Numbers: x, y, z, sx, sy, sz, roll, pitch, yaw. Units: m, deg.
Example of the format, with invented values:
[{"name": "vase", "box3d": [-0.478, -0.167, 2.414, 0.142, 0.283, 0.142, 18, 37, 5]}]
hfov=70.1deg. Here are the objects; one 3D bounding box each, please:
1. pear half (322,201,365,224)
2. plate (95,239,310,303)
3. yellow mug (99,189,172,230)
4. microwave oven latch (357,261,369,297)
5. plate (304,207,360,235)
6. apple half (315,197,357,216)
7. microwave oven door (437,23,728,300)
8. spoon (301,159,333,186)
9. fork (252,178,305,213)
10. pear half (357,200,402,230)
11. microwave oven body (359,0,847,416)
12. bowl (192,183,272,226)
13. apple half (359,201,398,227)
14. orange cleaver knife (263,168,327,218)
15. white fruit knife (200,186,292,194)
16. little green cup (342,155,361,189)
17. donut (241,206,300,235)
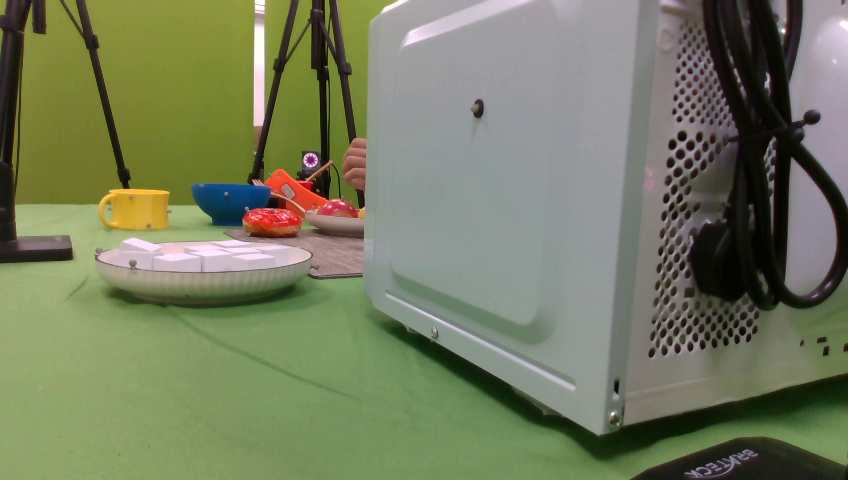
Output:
[{"name": "pear half", "box3d": [-0.157, -0.059, 1.197, 0.088, 0.031, 0.070, 12, 30, -5]}, {"name": "plate", "box3d": [-0.224, 0.031, 0.629, 0.208, 0.039, 0.207, 2, 7, 0]}, {"name": "yellow mug", "box3d": [-0.518, -0.055, 1.080, 0.099, 0.064, 0.131, 7, 10, 26]}, {"name": "microwave oven latch", "box3d": [-0.019, 0.033, 0.530, 0.079, 0.029, 0.030, -1, 7, -26]}, {"name": "plate", "box3d": [-0.123, -0.037, 1.149, 0.209, 0.038, 0.209, 2, 7, 0]}, {"name": "apple half", "box3d": [-0.162, -0.052, 1.121, 0.081, 0.053, 0.074, 5, 7, -14]}, {"name": "microwave oven door", "box3d": [0.180, -0.072, 0.621, 0.358, 0.243, 0.039, -2, 9, -29]}, {"name": "spoon", "box3d": [-0.316, -0.159, 1.639, 0.194, 0.022, 0.041, -49, 33, -20]}, {"name": "fork", "box3d": [-0.295, -0.084, 1.292, 0.206, 0.018, 0.028, 29, 10, 25]}, {"name": "pear half", "box3d": [-0.075, -0.047, 1.133, 0.076, 0.056, 0.110, 12, 7, 31]}, {"name": "microwave oven body", "box3d": [0.211, -0.047, 0.474, 0.444, 0.260, 0.324, -1, 7, -28]}, {"name": "bowl", "box3d": [-0.381, -0.071, 1.202, 0.151, 0.077, 0.151, 3, 7, 0]}, {"name": "apple half", "box3d": [-0.088, -0.058, 1.190, 0.081, 0.033, 0.081, 9, 29, -5]}, {"name": "orange cleaver knife", "box3d": [-0.262, -0.088, 1.353, 0.211, 0.077, 0.012, 28, 13, -1]}, {"name": "white fruit knife", "box3d": [-0.399, -0.111, 1.368, 0.208, 0.016, 0.027, -4, -19, -30]}, {"name": "little green cup", "box3d": [-0.116, -0.120, 1.083, 0.061, 0.038, 0.061, 15, -22, 6]}, {"name": "donut", "box3d": [-0.263, -0.032, 1.039, 0.099, 0.048, 0.099, 4, 10, 0]}]
